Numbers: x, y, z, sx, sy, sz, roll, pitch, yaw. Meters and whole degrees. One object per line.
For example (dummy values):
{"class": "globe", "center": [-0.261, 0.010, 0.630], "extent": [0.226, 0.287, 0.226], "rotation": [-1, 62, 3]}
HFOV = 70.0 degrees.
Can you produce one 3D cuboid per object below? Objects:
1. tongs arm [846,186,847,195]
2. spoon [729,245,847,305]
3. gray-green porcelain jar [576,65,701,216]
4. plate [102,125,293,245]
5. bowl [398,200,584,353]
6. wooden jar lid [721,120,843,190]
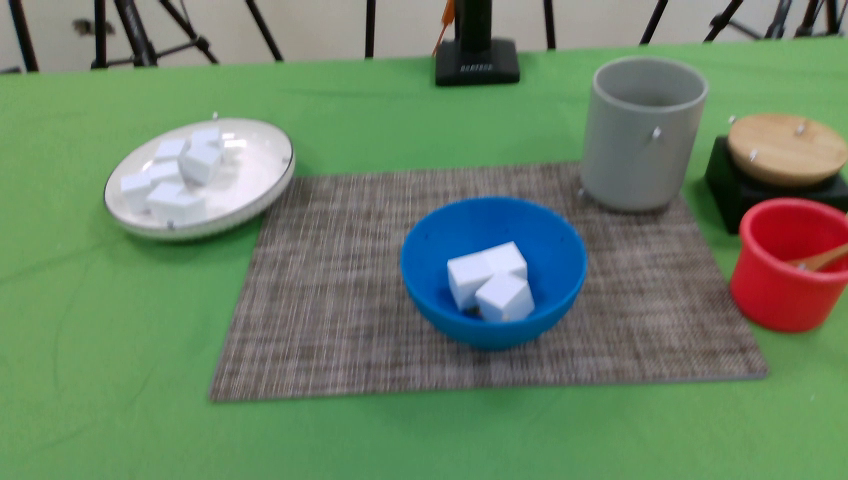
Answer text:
{"class": "tongs arm", "center": [0.476, 0.066, 0.492], "extent": [0.028, 0.028, 0.383], "rotation": [-6, 42, -6]}
{"class": "spoon", "center": [0.341, 0.010, 0.480], "extent": [0.022, 0.193, 0.041], "rotation": [41, 42, -18]}
{"class": "gray-green porcelain jar", "center": [0.212, -0.096, 0.618], "extent": [0.106, 0.128, 0.105], "rotation": [-3, 42, 3]}
{"class": "plate", "center": [-0.251, -0.061, 0.689], "extent": [0.209, 0.038, 0.207], "rotation": [-3, 42, 3]}
{"class": "bowl", "center": [0.055, 0.042, 0.512], "extent": [0.151, 0.077, 0.150], "rotation": [-2, 42, 2]}
{"class": "wooden jar lid", "center": [0.353, -0.084, 0.603], "extent": [0.108, 0.021, 0.107], "rotation": [-3, 41, 3]}
